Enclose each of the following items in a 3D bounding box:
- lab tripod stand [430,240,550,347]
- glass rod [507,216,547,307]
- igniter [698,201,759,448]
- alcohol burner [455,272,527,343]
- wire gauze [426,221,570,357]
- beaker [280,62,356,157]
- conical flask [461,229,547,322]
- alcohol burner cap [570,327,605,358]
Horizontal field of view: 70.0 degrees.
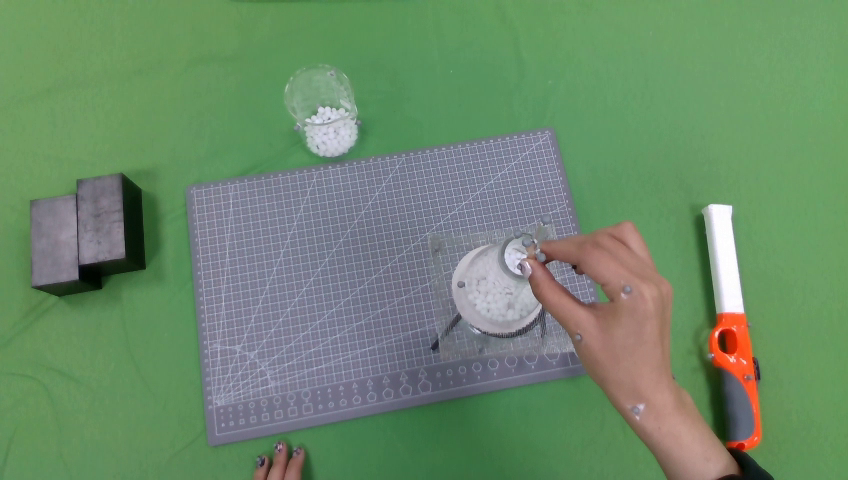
[{"bbox_3d":[0.070,0.064,0.624,0.148,0.132,0.147,0,76,-1],"label":"lab tripod stand"},{"bbox_3d":[0.075,0.023,0.459,0.008,0.201,0.008,-1,69,2],"label":"glass rod"},{"bbox_3d":[0.340,0.089,0.681,0.057,0.025,0.275,3,74,-11],"label":"igniter"},{"bbox_3d":[0.071,0.068,0.633,0.078,0.119,0.077,0,75,1],"label":"alcohol burner"},{"bbox_3d":[0.068,0.045,0.561,0.125,0.011,0.121,-4,77,-4],"label":"wire gauze"},{"bbox_3d":[-0.114,-0.144,0.698,0.084,0.100,0.074,25,76,5],"label":"beaker"},{"bbox_3d":[0.072,0.025,0.505,0.075,0.122,0.075,0,76,-1],"label":"conical flask"},{"bbox_3d":[0.181,0.110,0.661,0.034,0.048,0.033,0,74,-1],"label":"alcohol burner cap"}]
